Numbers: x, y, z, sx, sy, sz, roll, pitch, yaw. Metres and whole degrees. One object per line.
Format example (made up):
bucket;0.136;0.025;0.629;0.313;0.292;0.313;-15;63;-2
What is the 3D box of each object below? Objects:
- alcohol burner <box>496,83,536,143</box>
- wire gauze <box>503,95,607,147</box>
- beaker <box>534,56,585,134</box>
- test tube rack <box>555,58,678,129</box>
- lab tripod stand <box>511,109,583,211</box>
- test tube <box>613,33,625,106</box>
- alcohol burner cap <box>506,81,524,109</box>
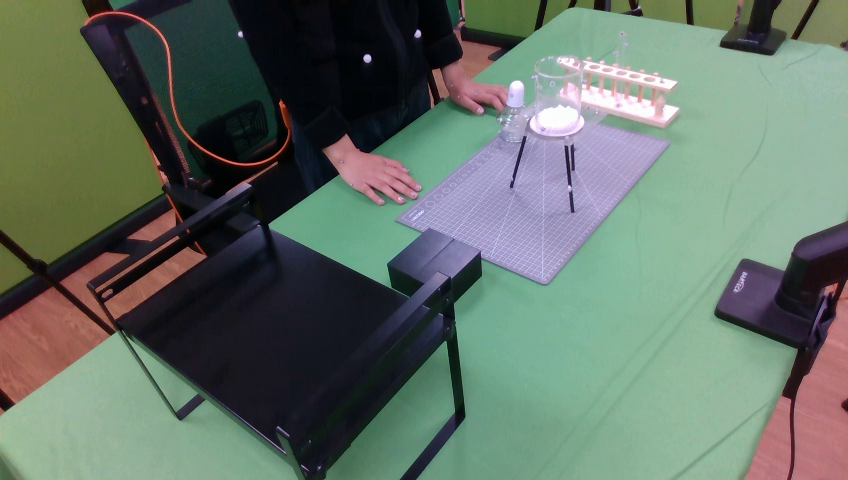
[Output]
alcohol burner;0.178;-0.249;1.168;0.078;0.119;0.077;-5;42;5
wire gauze;0.211;-0.191;0.976;0.120;0.011;0.125;24;52;32
beaker;0.209;-0.226;0.942;0.074;0.101;0.083;-2;41;7
test tube rack;0.390;-0.307;1.229;0.240;0.085;0.067;25;50;33
lab tripod stand;0.220;-0.138;1.014;0.148;0.132;0.147;-3;41;3
test tube;0.380;-0.330;1.180;0.017;0.151;0.017;-7;41;6
alcohol burner cap;0.173;-0.277;1.144;0.034;0.048;0.033;0;39;0
